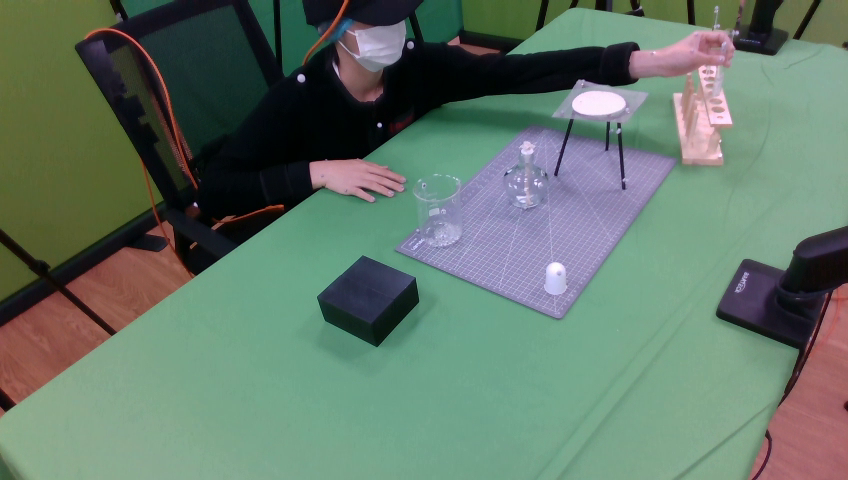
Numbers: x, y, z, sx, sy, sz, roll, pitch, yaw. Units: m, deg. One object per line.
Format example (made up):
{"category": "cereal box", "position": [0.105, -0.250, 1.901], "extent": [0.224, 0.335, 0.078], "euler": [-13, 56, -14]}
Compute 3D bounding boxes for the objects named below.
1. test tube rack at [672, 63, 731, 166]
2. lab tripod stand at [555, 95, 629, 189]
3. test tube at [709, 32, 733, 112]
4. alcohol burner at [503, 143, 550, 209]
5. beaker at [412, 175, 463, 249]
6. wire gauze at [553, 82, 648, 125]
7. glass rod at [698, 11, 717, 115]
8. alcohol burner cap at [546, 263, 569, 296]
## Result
{"category": "test tube rack", "position": [0.513, -0.241, 1.132], "extent": [0.066, 0.085, 0.242], "euler": [4, 41, 14]}
{"category": "lab tripod stand", "position": [0.301, -0.174, 1.045], "extent": [0.148, 0.132, 0.147], "euler": [-5, 38, 5]}
{"category": "test tube", "position": [0.518, -0.291, 1.060], "extent": [0.017, 0.151, 0.017], "euler": [-5, 43, 5]}
{"category": "alcohol burner", "position": [0.171, -0.111, 1.006], "extent": [0.078, 0.119, 0.077], "euler": [-3, 41, 3]}
{"category": "beaker", "position": [0.027, -0.043, 0.959], "extent": [0.084, 0.101, 0.073], "euler": [-25, 43, -20]}
{"category": "wire gauze", "position": [0.293, -0.225, 1.002], "extent": [0.120, 0.011, 0.125], "euler": [17, 45, 27]}
{"category": "glass rod", "position": [0.527, -0.324, 1.126], "extent": [0.008, 0.200, 0.008], "euler": [-6, 38, 5]}
{"category": "alcohol burner cap", "position": [0.191, 0.053, 0.862], "extent": [0.034, 0.048, 0.033], "euler": [-5, 40, 4]}
